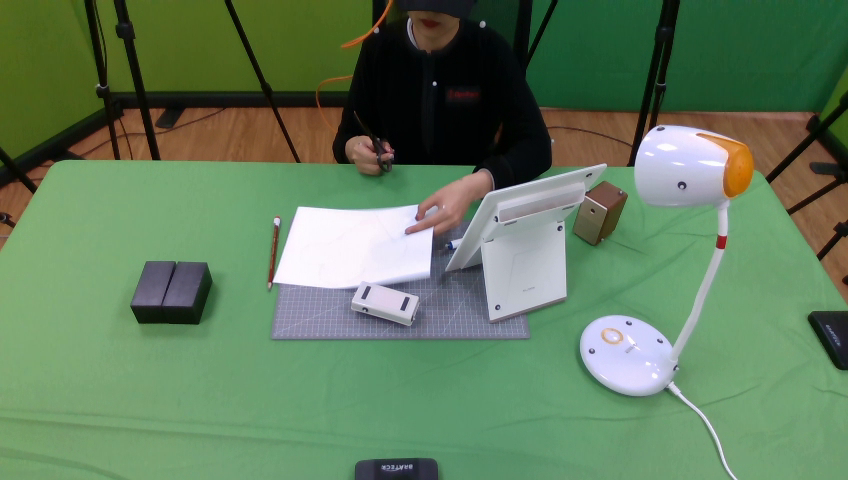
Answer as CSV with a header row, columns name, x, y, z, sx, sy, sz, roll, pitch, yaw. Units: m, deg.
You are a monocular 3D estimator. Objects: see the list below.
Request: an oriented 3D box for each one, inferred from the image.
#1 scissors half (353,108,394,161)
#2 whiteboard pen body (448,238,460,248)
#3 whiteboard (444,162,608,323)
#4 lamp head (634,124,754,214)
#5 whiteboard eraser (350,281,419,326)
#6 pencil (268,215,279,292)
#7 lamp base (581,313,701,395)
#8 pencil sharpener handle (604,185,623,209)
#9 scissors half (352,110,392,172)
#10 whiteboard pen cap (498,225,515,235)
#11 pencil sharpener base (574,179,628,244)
name,x,y,z,sx,sy,sz,roll,pitch,yaw
scissors half,-0.105,-0.221,1.269,0.013,0.176,0.040,-5,64,25
whiteboard pen body,0.112,-0.005,1.203,0.141,0.017,0.017,-14,49,-18
whiteboard,0.186,0.025,1.029,0.217,0.306,0.143,-14,68,-18
lamp head,0.351,-0.089,0.775,0.112,0.113,0.122,-30,30,-28
whiteboard eraser,-0.069,0.113,1.065,0.112,0.042,0.055,14,46,9
pencil,-0.290,0.022,1.164,0.012,0.012,0.192,-2,48,-6
lamp base,0.361,0.144,0.972,0.178,0.181,0.160,34,53,23
pencil sharpener handle,0.390,-0.091,1.235,0.030,0.068,0.036,-33,69,-31
scissors half,-0.110,-0.205,1.259,0.013,0.176,0.040,0,52,28
whiteboard pen cap,0.166,-0.019,1.222,0.033,0.018,0.018,-14,49,-19
pencil sharpener base,0.355,-0.057,1.217,0.076,0.107,0.061,-33,56,-31
